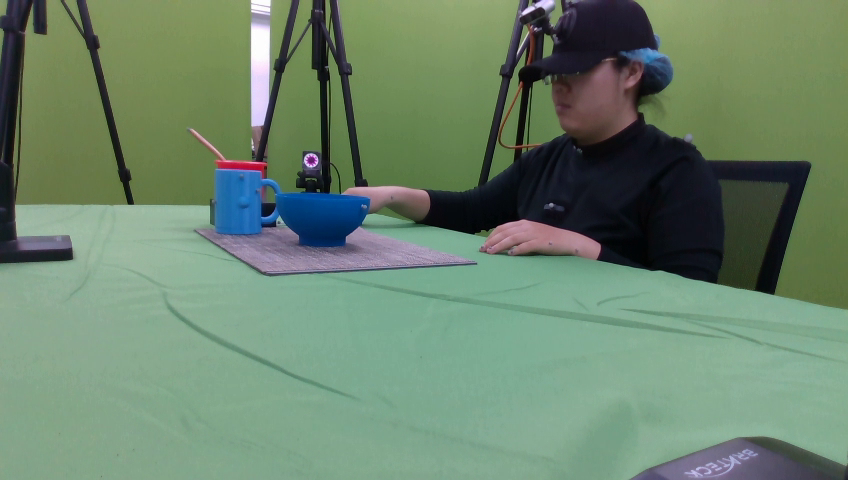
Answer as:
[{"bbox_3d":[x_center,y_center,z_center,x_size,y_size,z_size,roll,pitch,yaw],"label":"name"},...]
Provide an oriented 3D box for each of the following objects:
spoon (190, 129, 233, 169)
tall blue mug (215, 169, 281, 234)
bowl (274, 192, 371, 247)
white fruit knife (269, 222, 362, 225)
[{"bbox_3d":[-0.388,-0.150,1.174,0.193,0.021,0.042,49,19,7],"label":"spoon"},{"bbox_3d":[-0.313,-0.069,1.061,0.077,0.108,0.108,6,8,31],"label":"tall blue mug"},{"bbox_3d":[-0.161,-0.033,0.958,0.151,0.077,0.151,3,8,0],"label":"bowl"},{"bbox_3d":[-0.221,-0.037,1.261,0.208,0.016,0.027,-4,-17,-31],"label":"white fruit knife"}]
